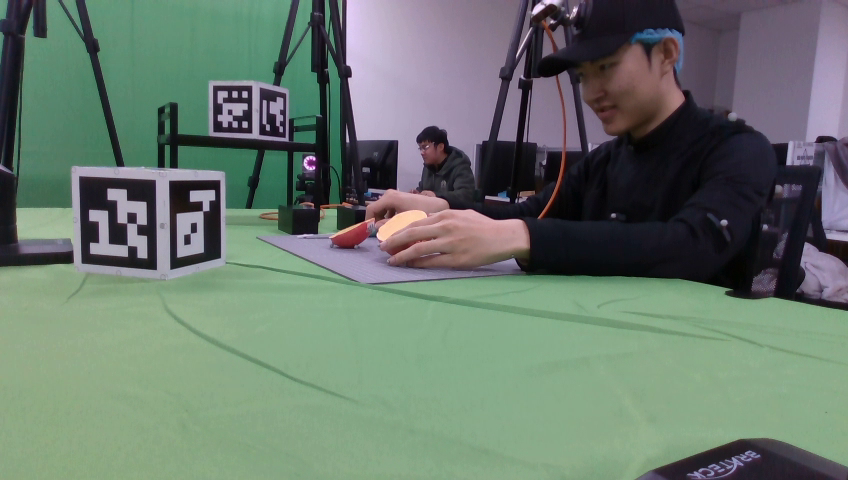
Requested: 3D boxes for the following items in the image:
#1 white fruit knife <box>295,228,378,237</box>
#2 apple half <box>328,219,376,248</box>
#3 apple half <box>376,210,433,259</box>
[{"bbox_3d":[-0.134,-0.012,1.105,0.208,0.016,0.027,-2,1,-30],"label":"white fruit knife"},{"bbox_3d":[-0.111,-0.007,0.971,0.081,0.033,0.081,-17,9,3],"label":"apple half"},{"bbox_3d":[-0.026,-0.003,0.883,0.074,0.053,0.081,11,44,47],"label":"apple half"}]
